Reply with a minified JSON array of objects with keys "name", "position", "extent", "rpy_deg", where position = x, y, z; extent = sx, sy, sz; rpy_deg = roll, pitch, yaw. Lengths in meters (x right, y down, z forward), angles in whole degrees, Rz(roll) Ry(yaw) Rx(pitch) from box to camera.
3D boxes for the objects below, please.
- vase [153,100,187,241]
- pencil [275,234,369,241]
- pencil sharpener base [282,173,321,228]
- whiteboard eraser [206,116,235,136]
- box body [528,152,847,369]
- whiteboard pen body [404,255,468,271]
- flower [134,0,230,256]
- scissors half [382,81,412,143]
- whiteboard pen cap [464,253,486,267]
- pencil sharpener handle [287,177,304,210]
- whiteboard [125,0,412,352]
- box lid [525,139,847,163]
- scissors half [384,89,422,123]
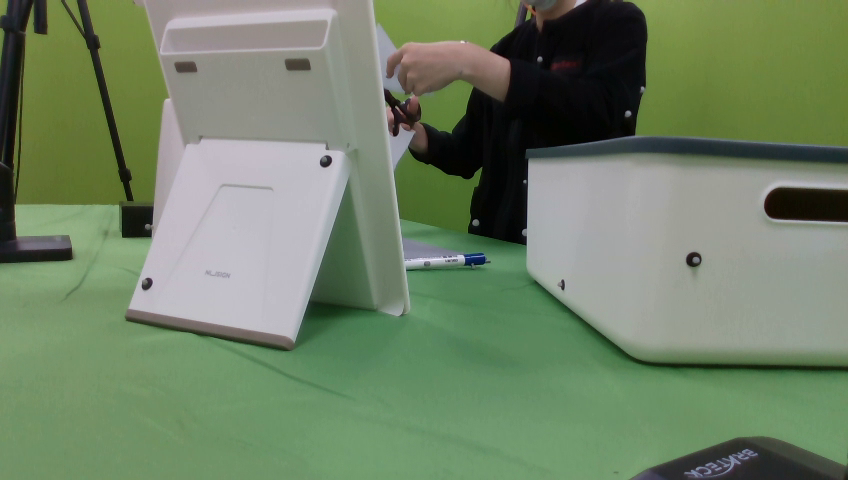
[{"name":"vase","position":[-0.278,-0.066,0.736],"extent":[0.098,0.200,0.098],"rpy_deg":[2,9,0]},{"name":"pencil","position":[-0.169,-0.006,1.036],"extent":[0.012,0.012,0.195],"rpy_deg":[10,8,44]},{"name":"pencil sharpener base","position":[-0.247,-0.080,1.212],"extent":[0.061,0.107,0.076],"rpy_deg":[-2,5,-28]},{"name":"whiteboard eraser","position":[-0.450,-0.252,1.335],"extent":[0.056,0.042,0.112],"rpy_deg":[1,7,-22]},{"name":"box body","position":[0.258,-0.005,0.591],"extent":[0.254,0.160,0.363],"rpy_deg":[2,7,-4]},{"name":"whiteboard pen body","position":[0.013,0.030,0.792],"extent":[0.141,0.017,0.017],"rpy_deg":[-3,9,-24]},{"name":"flower","position":[-0.282,-0.147,0.713],"extent":[0.038,0.362,0.044],"rpy_deg":[-23,24,-31]},{"name":"scissors half","position":[-0.058,-0.231,1.070],"extent":[0.012,0.040,0.176],"rpy_deg":[25,-21,30]},{"name":"whiteboard pen cap","position":[0.066,0.027,0.818],"extent":[0.033,0.018,0.018],"rpy_deg":[-5,10,-24]},{"name":"pencil sharpener handle","position":[-0.269,-0.096,1.257],"extent":[0.036,0.067,0.030],"rpy_deg":[-8,8,-27]},{"name":"whiteboard","position":[-0.151,-0.049,0.472],"extent":[0.216,0.305,0.144],"rpy_deg":[6,27,24]},{"name":"box lid","position":[0.261,-0.078,0.580],"extent":[0.264,0.015,0.371],"rpy_deg":[2,7,-4]},{"name":"scissors half","position":[-0.048,-0.250,1.074],"extent":[0.013,0.040,0.176],"rpy_deg":[19,2,29]}]
